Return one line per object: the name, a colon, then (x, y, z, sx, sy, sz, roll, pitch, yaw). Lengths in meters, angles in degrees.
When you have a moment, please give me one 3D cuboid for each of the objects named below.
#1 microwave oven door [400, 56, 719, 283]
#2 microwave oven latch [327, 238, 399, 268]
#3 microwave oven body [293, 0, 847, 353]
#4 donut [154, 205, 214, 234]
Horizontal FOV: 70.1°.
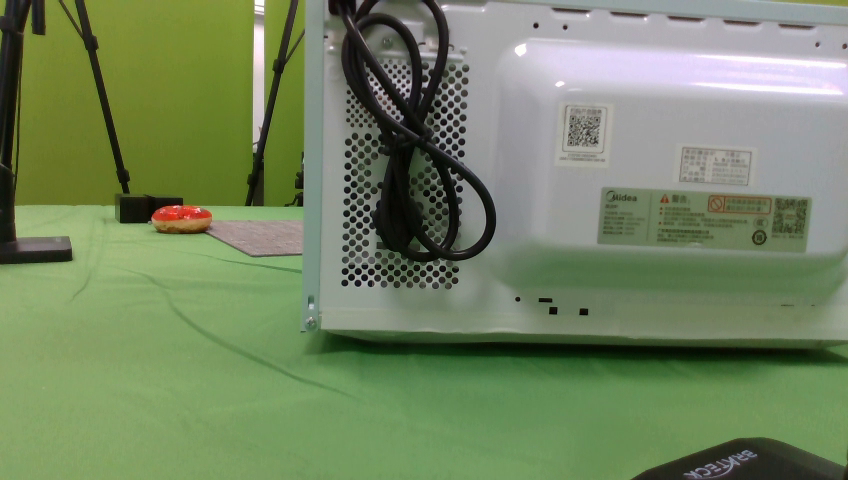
microwave oven door: (0.155, -0.077, 0.697, 0.356, 0.243, 0.039, 2, 8, -5)
microwave oven latch: (-0.069, 0.015, 0.694, 0.079, 0.029, 0.030, 3, 7, -3)
microwave oven body: (0.122, -0.055, 0.550, 0.442, 0.260, 0.325, 3, 7, -5)
donut: (-0.426, -0.037, 1.075, 0.099, 0.048, 0.099, 2, 12, 0)
